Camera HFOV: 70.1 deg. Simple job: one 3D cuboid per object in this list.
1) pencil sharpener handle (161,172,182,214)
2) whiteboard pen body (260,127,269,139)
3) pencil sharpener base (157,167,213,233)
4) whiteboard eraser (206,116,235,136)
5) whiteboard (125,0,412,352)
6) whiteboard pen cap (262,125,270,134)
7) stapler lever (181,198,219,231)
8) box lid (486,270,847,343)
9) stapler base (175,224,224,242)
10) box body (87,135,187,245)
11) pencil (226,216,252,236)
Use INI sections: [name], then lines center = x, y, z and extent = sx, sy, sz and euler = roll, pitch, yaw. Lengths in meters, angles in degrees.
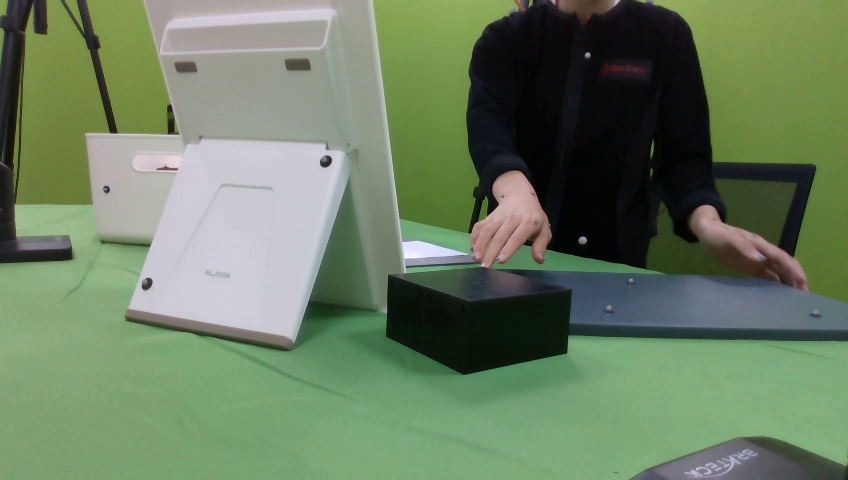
[pencil sharpener handle]
center = -0.410, -0.075, 0.973
extent = 0.036, 0.067, 0.031
euler = -10, 6, 10
[whiteboard pen body]
center = -0.366, -0.247, 1.392
extent = 0.017, 0.017, 0.140
euler = 0, 4, -17
[pencil sharpener base]
center = -0.405, -0.069, 1.025
extent = 0.061, 0.107, 0.077
euler = 2, 8, 9
[whiteboard eraser]
center = -0.450, -0.252, 1.335
extent = 0.056, 0.042, 0.112
euler = 1, 7, -22
[whiteboard]
center = -0.151, -0.049, 0.472
extent = 0.216, 0.305, 0.144
euler = 6, 27, 24
[whiteboard pen cap]
center = -0.349, -0.244, 1.336
extent = 0.018, 0.018, 0.033
euler = 0, 2, -17
[stapler lever]
center = -0.347, -0.041, 0.941
extent = 0.027, 0.040, 0.118
euler = 0, 9, -3
[box lid]
center = 0.267, 0.066, 0.643
extent = 0.372, 0.015, 0.263
euler = 2, 7, -5
[stapler base]
center = -0.348, -0.015, 0.946
extent = 0.041, 0.024, 0.130
euler = 0, 7, -3
[box body]
center = -0.338, -0.088, 1.022
extent = 0.254, 0.160, 0.364
euler = 3, 7, 9
[pencil]
center = -0.334, -0.025, 1.092
extent = 0.012, 0.012, 0.193
euler = 2, 11, -5
